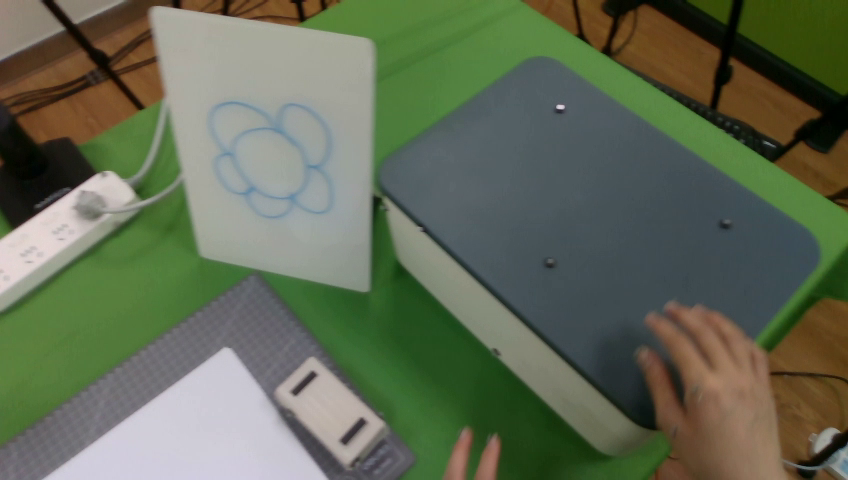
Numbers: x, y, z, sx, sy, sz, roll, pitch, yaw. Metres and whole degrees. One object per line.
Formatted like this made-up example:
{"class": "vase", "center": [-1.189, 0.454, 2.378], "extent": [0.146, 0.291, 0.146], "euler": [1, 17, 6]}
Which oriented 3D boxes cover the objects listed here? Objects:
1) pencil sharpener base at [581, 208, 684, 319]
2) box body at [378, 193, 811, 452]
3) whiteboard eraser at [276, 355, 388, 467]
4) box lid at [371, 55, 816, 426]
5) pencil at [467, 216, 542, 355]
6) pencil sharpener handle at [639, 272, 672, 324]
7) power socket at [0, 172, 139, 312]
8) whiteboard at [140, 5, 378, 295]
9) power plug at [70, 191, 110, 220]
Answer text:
{"class": "pencil sharpener base", "center": [0.224, 0.030, 0.659], "extent": [0.061, 0.108, 0.076], "euler": [-18, 59, -11]}
{"class": "box body", "center": [0.155, 0.010, 0.648], "extent": [0.254, 0.162, 0.361], "euler": [-39, 65, -21]}
{"class": "whiteboard eraser", "center": [-0.094, 0.173, 0.617], "extent": [0.112, 0.042, 0.055], "euler": [36, 63, 21]}
{"class": "box lid", "center": [0.153, -0.032, 0.586], "extent": [0.263, 0.015, 0.368], "euler": [-39, 66, -21]}
{"class": "pencil", "center": [0.093, 0.049, 0.708], "extent": [0.012, 0.012, 0.192], "euler": [-19, 62, -11]}
{"class": "pencil sharpener handle", "center": [0.245, 0.062, 0.624], "extent": [0.036, 0.068, 0.030], "euler": [-25, 60, 0]}
{"class": "power socket", "center": [-0.455, -0.001, 0.740], "extent": [0.071, 0.033, 0.226], "euler": [37, 65, 21]}
{"class": "whiteboard", "center": [-0.147, -0.114, 0.682], "extent": [0.217, 0.308, 0.143], "euler": [12, 40, 9]}
{"class": "power plug", "center": [-0.400, -0.030, 0.730], "extent": [0.035, 0.053, 0.072], "euler": [-34, 65, -18]}
